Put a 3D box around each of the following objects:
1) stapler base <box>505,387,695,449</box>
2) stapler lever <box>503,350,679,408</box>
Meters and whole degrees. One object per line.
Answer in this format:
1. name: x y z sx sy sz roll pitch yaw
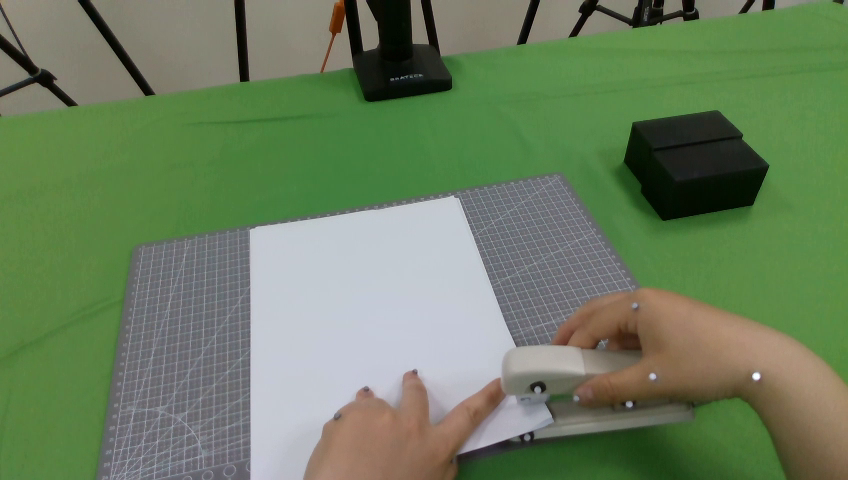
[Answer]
1. stapler base: 0.118 0.120 0.426 0.130 0.024 0.041 -15 2 15
2. stapler lever: 0.113 0.092 0.425 0.118 0.040 0.027 -12 4 15
